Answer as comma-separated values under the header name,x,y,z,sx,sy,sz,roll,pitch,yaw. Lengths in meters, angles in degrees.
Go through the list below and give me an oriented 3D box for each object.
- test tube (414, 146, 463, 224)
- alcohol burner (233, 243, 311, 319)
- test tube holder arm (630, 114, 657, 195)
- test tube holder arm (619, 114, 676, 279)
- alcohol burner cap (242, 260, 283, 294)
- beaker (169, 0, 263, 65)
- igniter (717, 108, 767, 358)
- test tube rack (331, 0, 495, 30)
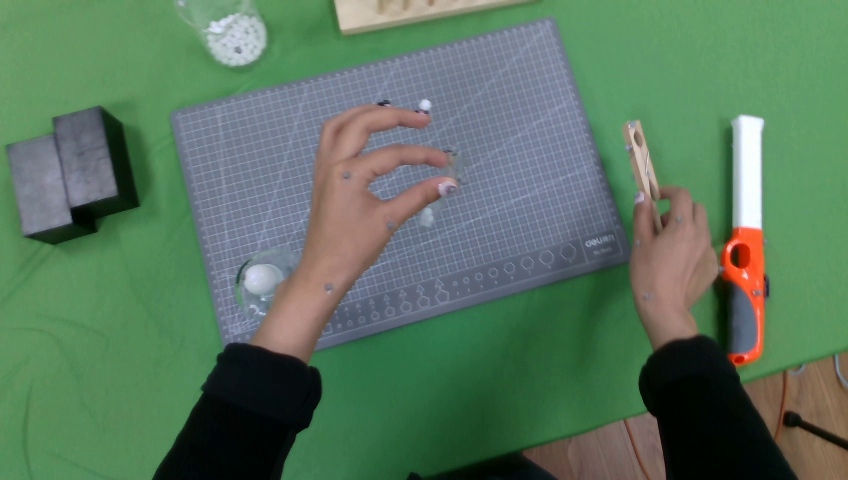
name,x,y,z,sx,sy,sz,roll,pitch,yaw
test tube,0.009,-0.041,0.508,0.017,0.150,0.017,3,73,-9
alcohol burner,-0.152,0.038,0.596,0.078,0.119,0.077,1,79,-3
test tube holder arm,0.229,-0.091,0.639,0.010,0.015,0.087,-8,79,-11
test tube holder arm,0.232,-0.046,0.630,0.013,0.015,0.177,-8,79,-11
alcohol burner cap,-0.151,0.034,0.560,0.034,0.048,0.034,0,86,-2
beaker,-0.216,-0.236,0.645,0.074,0.100,0.083,-13,82,-3
igniter,0.348,-0.009,0.663,0.057,0.025,0.275,7,81,-10
test tube rack,0.012,-0.305,0.668,0.242,0.085,0.066,-12,82,-3
